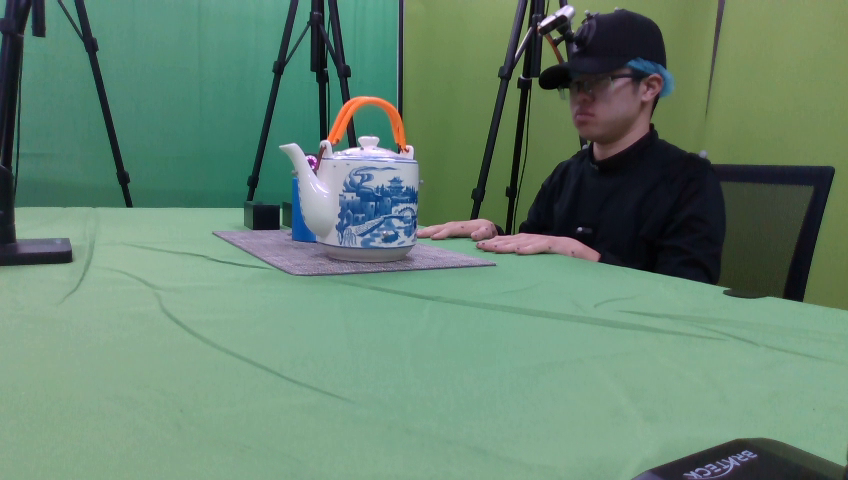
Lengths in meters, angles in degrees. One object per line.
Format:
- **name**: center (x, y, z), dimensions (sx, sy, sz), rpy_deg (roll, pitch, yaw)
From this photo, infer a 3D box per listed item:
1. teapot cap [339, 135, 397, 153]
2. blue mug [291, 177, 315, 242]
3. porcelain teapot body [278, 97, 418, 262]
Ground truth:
- **teapot cap**: center (-0.080, -0.126, 0.853), dimensions (0.085, 0.044, 0.085), rpy_deg (-1, 5, 0)
- **blue mug**: center (-0.170, -0.054, 1.037), dimensions (0.117, 0.106, 0.082), rpy_deg (-2, 9, -31)
- **porcelain teapot body**: center (-0.104, -0.086, 0.842), dimensions (0.206, 0.225, 0.144), rpy_deg (-4, 10, -38)
